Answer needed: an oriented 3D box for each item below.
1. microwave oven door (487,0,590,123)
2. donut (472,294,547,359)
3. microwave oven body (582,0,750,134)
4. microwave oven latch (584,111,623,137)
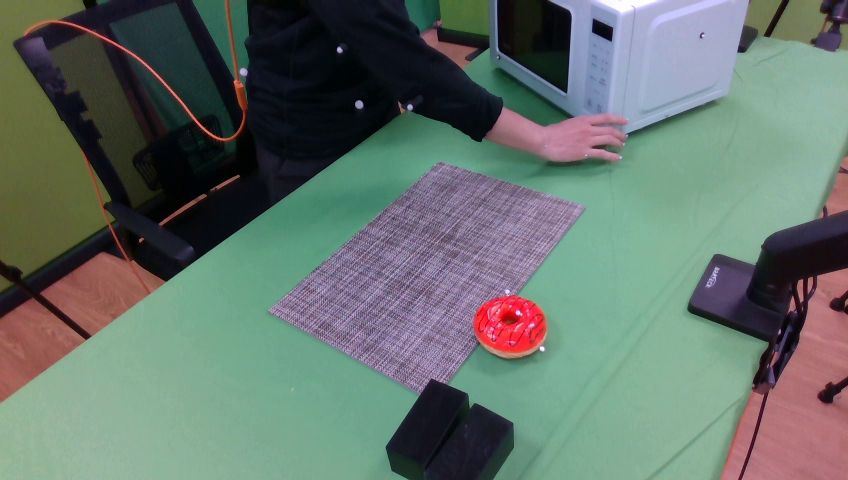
[{"bbox_3d":[0.232,-0.420,1.231,0.039,0.245,0.352,-22,43,-16],"label":"microwave oven door"},{"bbox_3d":[0.114,0.114,0.803,0.099,0.048,0.098,0,40,1],"label":"donut"},{"bbox_3d":[0.382,-0.445,1.246,0.327,0.261,0.437,-22,42,-16],"label":"microwave oven body"},{"bbox_3d":[0.337,-0.222,1.142,0.030,0.029,0.078,-21,42,-14],"label":"microwave oven latch"}]
